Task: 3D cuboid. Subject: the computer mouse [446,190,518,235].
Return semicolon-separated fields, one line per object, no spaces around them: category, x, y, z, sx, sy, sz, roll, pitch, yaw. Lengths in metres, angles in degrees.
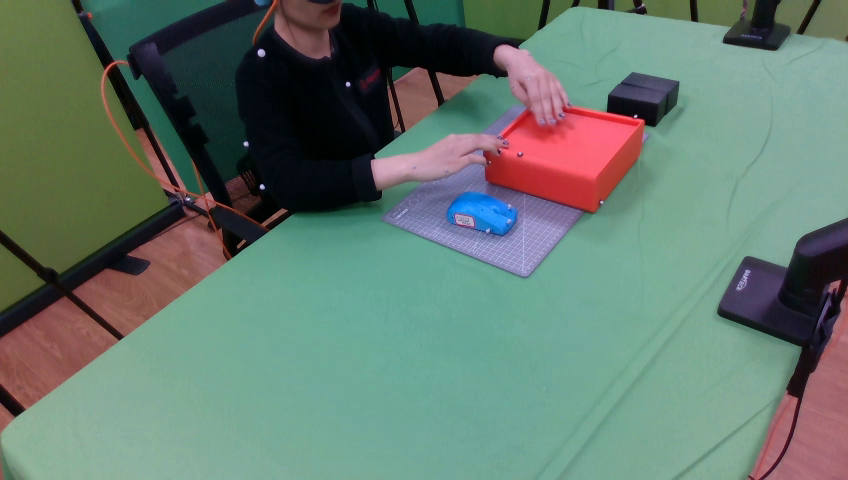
computer mouse;0.097;-0.048;1.004;0.116;0.041;0.063;18;45;23

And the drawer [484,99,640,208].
drawer;0.244;-0.158;1.073;0.210;0.073;0.195;22;48;31

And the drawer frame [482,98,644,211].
drawer frame;0.246;-0.158;1.071;0.212;0.083;0.202;21;48;30
